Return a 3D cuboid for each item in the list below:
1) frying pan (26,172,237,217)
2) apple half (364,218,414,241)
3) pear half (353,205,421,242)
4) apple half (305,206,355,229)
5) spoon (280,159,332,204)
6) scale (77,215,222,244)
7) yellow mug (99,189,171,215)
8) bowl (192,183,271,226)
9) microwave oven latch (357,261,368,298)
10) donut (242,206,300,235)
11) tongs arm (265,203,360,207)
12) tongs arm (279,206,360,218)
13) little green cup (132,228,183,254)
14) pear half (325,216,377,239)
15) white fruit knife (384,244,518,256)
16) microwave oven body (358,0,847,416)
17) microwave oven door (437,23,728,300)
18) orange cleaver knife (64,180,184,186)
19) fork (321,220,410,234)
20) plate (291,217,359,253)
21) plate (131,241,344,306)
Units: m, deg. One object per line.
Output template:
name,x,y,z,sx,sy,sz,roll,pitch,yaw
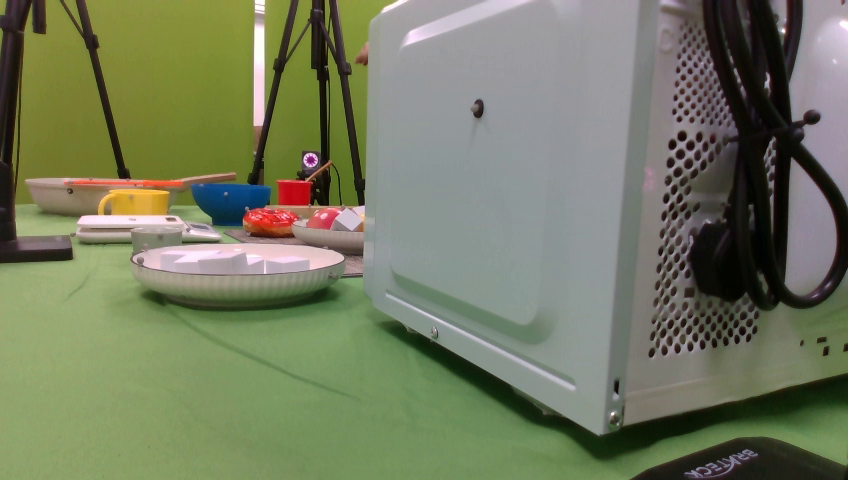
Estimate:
frying pan,-0.624,-0.118,1.387,0.305,0.102,0.490,8,17,32
apple half,-0.054,-0.019,0.968,0.081,0.033,0.081,-2,9,1
pear half,-0.051,-0.023,0.905,0.110,0.056,0.076,2,-2,-38
apple half,-0.138,-0.025,0.917,0.081,0.053,0.074,0,10,-43
spoon,-0.316,-0.159,1.640,0.194,0.022,0.041,-50,30,-20
scale,-0.434,-0.019,0.963,0.202,0.031,0.148,-1,9,-27
yellow mug,-0.519,-0.055,1.080,0.099,0.064,0.131,7,9,26
bowl,-0.382,-0.070,1.202,0.151,0.077,0.151,3,7,0
microwave oven latch,-0.019,0.033,0.530,0.079,0.029,0.030,-1,7,-27
donut,-0.263,-0.032,1.039,0.099,0.048,0.099,4,10,0
tongs arm,-0.218,-0.073,1.470,0.389,0.027,0.028,-1,0,-26
tongs arm,-0.171,-0.066,1.402,0.387,0.026,0.050,-3,4,-40
little green cup,-0.342,0.006,0.779,0.061,0.038,0.061,2,8,0
pear half,-0.119,-0.023,0.996,0.088,0.031,0.070,-4,23,-28
white fruit knife,0.041,0.016,0.878,0.208,0.016,0.027,-2,-3,-24
microwave oven body,0.211,-0.047,0.474,0.444,0.260,0.324,-1,7,-28
microwave oven door,0.180,-0.072,0.621,0.358,0.243,0.039,-2,8,-29
orange cleaver knife,-0.595,-0.114,1.212,0.212,0.012,0.077,-4,6,-41
fork,-0.104,-0.024,1.131,0.208,0.028,0.018,-1,34,-41
plate,-0.103,-0.009,0.945,0.209,0.038,0.209,2,7,0
plate,-0.187,0.033,0.625,0.208,0.039,0.207,2,7,0
